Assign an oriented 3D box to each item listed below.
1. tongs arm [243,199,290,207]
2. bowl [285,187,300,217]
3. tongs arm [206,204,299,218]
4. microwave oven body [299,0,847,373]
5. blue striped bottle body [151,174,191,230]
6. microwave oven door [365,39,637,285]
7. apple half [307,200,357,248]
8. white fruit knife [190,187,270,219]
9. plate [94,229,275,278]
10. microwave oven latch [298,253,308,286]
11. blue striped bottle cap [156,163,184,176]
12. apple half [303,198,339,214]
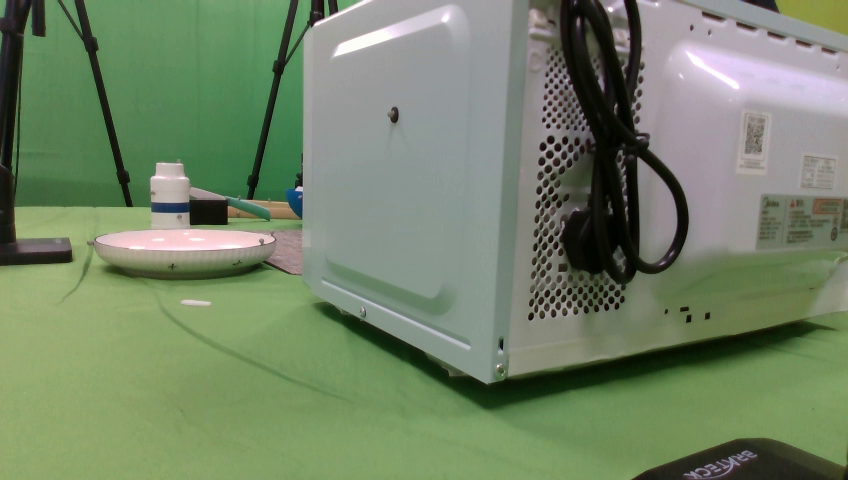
[{"bbox_3d":[-0.309,-0.078,1.486,0.385,0.026,0.050,3,7,-2],"label":"tongs arm"},{"bbox_3d":[-0.217,-0.069,1.274,0.151,0.077,0.151,3,8,0],"label":"bowl"},{"bbox_3d":[-0.302,-0.066,1.406,0.389,0.028,0.028,1,4,-15],"label":"tongs arm"},{"bbox_3d":[0.152,-0.055,0.542,0.444,0.260,0.324,-2,7,-33],"label":"microwave oven body"},{"bbox_3d":[-0.439,-0.071,1.052,0.063,0.120,0.063,2,8,0],"label":"blue striped bottle body"},{"bbox_3d":[0.106,-0.081,0.692,0.358,0.243,0.039,-2,8,-30],"label":"microwave oven door"},{"bbox_3d":[-0.136,-0.024,0.942,0.053,0.074,0.081,15,10,38],"label":"apple half"},{"bbox_3d":[-0.413,-0.081,1.269,0.208,0.027,0.016,17,13,-42],"label":"white fruit knife"},{"bbox_3d":[-0.291,0.016,0.749,0.208,0.039,0.207,2,7,0],"label":"plate"},{"bbox_3d":[-0.081,0.028,0.582,0.079,0.029,0.030,-2,7,-33],"label":"microwave oven latch"},{"bbox_3d":[-0.438,-0.122,1.045,0.044,0.020,0.044,4,6,0],"label":"blue striped bottle cap"},{"bbox_3d":[-0.217,-0.073,1.274,0.081,0.033,0.081,3,10,0],"label":"apple half"}]
